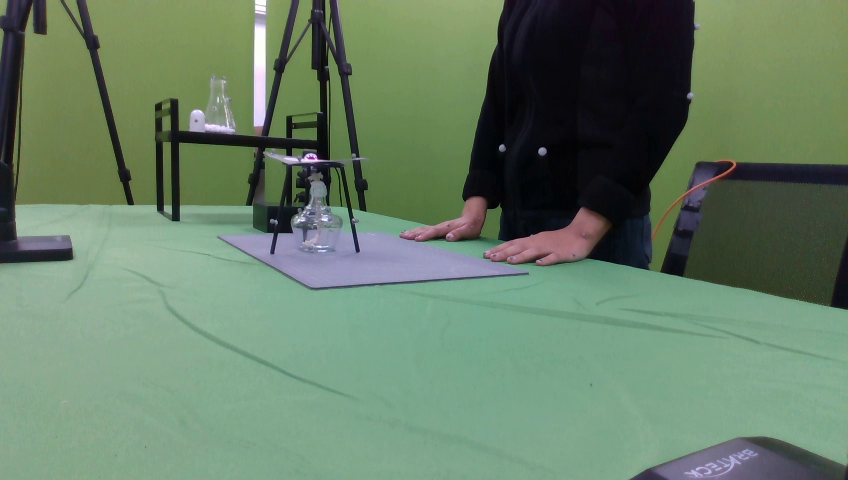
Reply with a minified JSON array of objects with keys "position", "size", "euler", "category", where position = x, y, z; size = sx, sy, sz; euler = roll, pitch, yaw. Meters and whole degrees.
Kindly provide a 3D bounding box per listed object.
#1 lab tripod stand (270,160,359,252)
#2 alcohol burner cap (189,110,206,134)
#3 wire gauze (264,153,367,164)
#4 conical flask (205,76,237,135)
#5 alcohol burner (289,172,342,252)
[{"position":[-0.167,-0.051,0.892],"size":[0.148,0.131,0.148],"euler":[4,9,0],"category":"lab tripod stand"},{"position":[-0.464,-0.242,1.240],"size":[0.034,0.048,0.034],"euler":[3,7,0],"category":"alcohol burner cap"},{"position":[-0.160,-0.118,0.888],"size":[0.122,0.011,0.124],"euler":[-3,10,-32],"category":"wire gauze"},{"position":[-0.443,-0.290,1.309],"size":[0.075,0.122,0.075],"euler":[3,7,0],"category":"conical flask"},{"position":[-0.160,-0.042,0.899],"size":[0.078,0.119,0.078],"euler":[4,9,0],"category":"alcohol burner"}]
